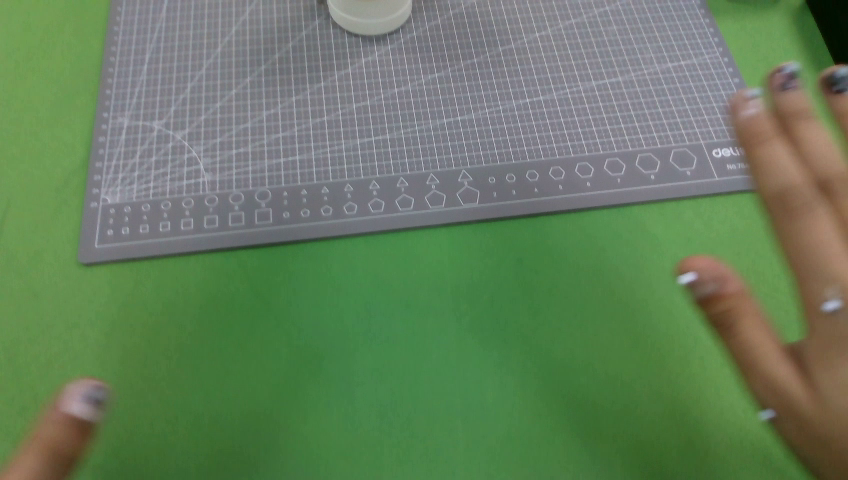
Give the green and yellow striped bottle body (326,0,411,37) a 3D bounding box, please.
[{"bbox_3d":[-0.040,-0.201,0.403,0.063,0.120,0.062,1,63,-1],"label":"green and yellow striped bottle body"}]
